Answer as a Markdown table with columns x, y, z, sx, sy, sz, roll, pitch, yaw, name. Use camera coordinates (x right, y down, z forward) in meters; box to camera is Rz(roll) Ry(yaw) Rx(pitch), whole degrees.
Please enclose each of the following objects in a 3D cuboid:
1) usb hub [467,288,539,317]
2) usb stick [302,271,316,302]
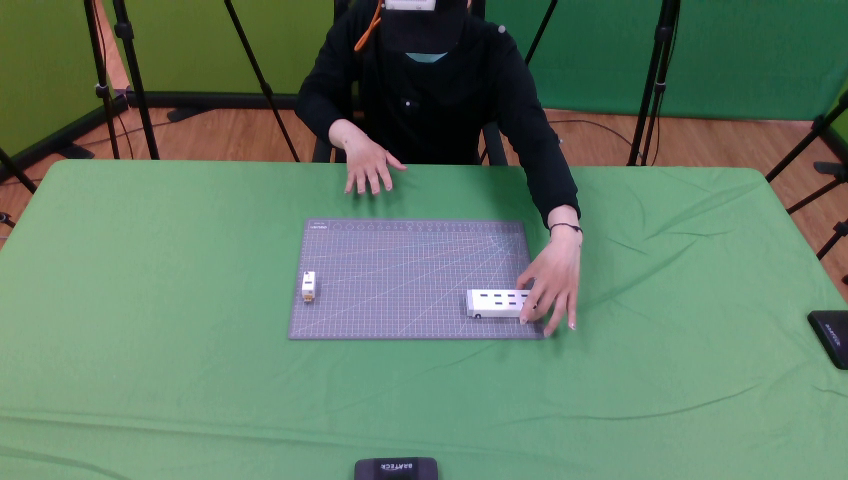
| x | y | z | sx | sy | sz | roll | pitch | yaw | name |
| --- | --- | --- | --- | --- | --- | --- | --- | --- | --- |
| 0.141 | 0.112 | 1.088 | 0.125 | 0.025 | 0.049 | 0 | 46 | -2 | usb hub |
| -0.207 | 0.085 | 1.092 | 0.021 | 0.027 | 0.059 | 1 | 49 | -5 | usb stick |
